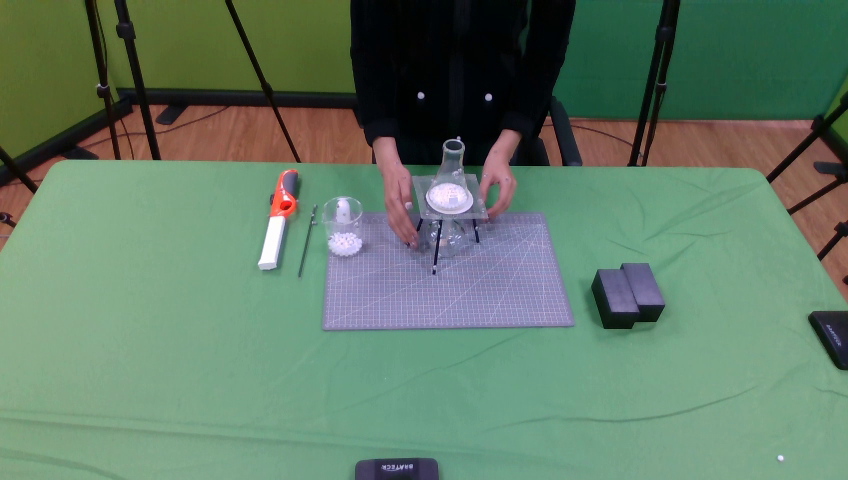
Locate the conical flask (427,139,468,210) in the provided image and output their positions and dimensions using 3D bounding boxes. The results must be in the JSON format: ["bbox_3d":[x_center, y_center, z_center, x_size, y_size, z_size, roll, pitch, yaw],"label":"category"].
[{"bbox_3d":[0.046,-0.117,1.061,0.075,0.122,0.075,3,46,-2],"label":"conical flask"}]

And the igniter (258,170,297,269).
[{"bbox_3d":[-0.294,-0.050,1.221,0.057,0.025,0.274,-5,45,4],"label":"igniter"}]

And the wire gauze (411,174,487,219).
[{"bbox_3d":[0.044,-0.079,1.107,0.125,0.011,0.120,-4,44,-6],"label":"wire gauze"}]

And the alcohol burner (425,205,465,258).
[{"bbox_3d":[0.041,-0.023,1.158,0.078,0.119,0.077,3,47,-3],"label":"alcohol burner"}]

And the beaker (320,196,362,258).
[{"bbox_3d":[-0.156,-0.021,1.150,0.084,0.101,0.073,-30,54,-28],"label":"beaker"}]

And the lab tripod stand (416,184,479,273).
[{"bbox_3d":[0.043,-0.031,1.152,0.148,0.132,0.147,3,44,-2],"label":"lab tripod stand"}]

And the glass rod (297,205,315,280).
[{"bbox_3d":[-0.231,0.001,1.192,0.008,0.008,0.198,2,47,-1],"label":"glass rod"}]

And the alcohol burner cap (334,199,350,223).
[{"bbox_3d":[-0.167,-0.061,1.228,0.034,0.048,0.033,2,46,-2],"label":"alcohol burner cap"}]
